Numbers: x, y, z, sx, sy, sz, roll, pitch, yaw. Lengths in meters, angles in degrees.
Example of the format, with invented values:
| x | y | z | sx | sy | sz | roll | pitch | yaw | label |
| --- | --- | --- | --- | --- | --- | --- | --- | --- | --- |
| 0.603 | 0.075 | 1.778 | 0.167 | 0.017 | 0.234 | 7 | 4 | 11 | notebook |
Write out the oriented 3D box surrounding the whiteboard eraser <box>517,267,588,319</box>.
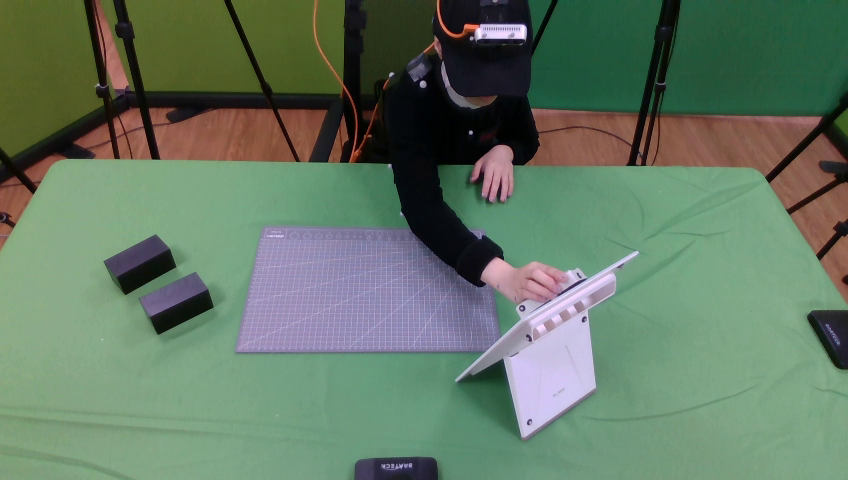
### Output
| x | y | z | sx | sy | sz | roll | pitch | yaw | label |
| --- | --- | --- | --- | --- | --- | --- | --- | --- | --- |
| 0.201 | 0.088 | 0.939 | 0.041 | 0.113 | 0.056 | 57 | 27 | 13 | whiteboard eraser |

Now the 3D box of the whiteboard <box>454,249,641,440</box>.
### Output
| x | y | z | sx | sy | sz | roll | pitch | yaw | label |
| --- | --- | --- | --- | --- | --- | --- | --- | --- | --- |
| 0.206 | 0.174 | 0.889 | 0.217 | 0.306 | 0.143 | -25 | 72 | -25 | whiteboard |
